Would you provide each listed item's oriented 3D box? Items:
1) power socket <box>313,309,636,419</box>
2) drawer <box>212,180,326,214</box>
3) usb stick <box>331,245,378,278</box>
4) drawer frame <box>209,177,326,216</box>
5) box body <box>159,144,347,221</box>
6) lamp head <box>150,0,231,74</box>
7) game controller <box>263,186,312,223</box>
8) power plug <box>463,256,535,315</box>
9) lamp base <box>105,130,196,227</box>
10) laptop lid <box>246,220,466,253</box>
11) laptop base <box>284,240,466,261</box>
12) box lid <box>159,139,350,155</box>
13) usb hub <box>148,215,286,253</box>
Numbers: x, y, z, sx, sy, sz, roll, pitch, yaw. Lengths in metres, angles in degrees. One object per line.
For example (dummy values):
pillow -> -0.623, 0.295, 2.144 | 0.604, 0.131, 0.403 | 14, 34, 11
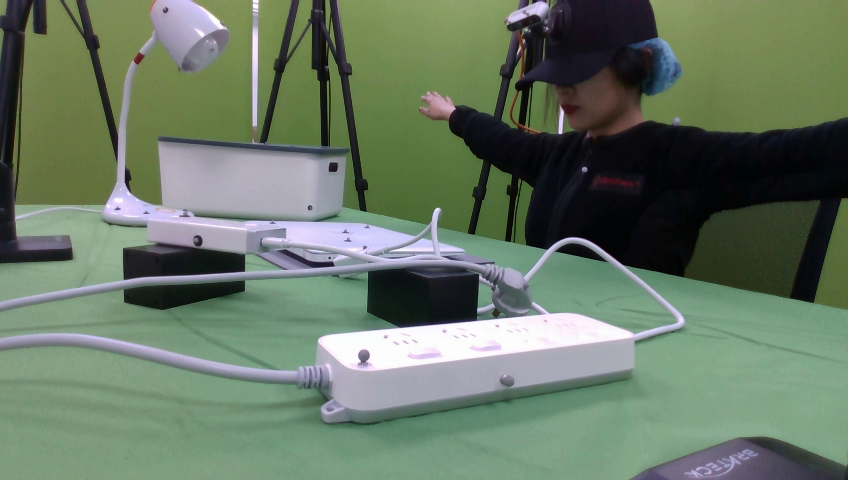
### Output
power socket -> 0.039, 0.072, 0.384 | 0.228, 0.032, 0.072 | -2, 7, -28
drawer -> -0.349, -0.103, 1.395 | 0.212, 0.073, 0.194 | 2, 6, 4
usb stick -> -0.085, 0.026, 0.701 | 0.059, 0.027, 0.021 | -18, 20, 27
drawer frame -> -0.351, -0.103, 1.393 | 0.213, 0.082, 0.201 | 1, 7, 3
box body -> -0.384, -0.137, 1.406 | 0.364, 0.160, 0.254 | 3, 8, 8
lamp head -> -0.432, -0.374, 1.086 | 0.123, 0.112, 0.112 | 42, 8, -2
game controller -> -0.308, -0.089, 1.397 | 0.097, 0.051, 0.155 | 31, 6, -3
power plug -> 0.064, 0.039, 0.530 | 0.072, 0.052, 0.035 | 31, 43, 7
lamp base -> -0.532, -0.120, 1.153 | 0.179, 0.180, 0.161 | 1, 7, 8
laptop lid -> -0.123, -0.009, 0.945 | 0.243, 0.013, 0.355 | 1, 7, -29
laptop base -> -0.125, 0.002, 0.945 | 0.237, 0.023, 0.352 | 2, 6, -31
box lid -> -0.373, -0.214, 1.387 | 0.371, 0.015, 0.263 | 4, 9, 7
usb hub -> -0.197, -0.006, 0.575 | 0.125, 0.025, 0.050 | 6, 6, 22
